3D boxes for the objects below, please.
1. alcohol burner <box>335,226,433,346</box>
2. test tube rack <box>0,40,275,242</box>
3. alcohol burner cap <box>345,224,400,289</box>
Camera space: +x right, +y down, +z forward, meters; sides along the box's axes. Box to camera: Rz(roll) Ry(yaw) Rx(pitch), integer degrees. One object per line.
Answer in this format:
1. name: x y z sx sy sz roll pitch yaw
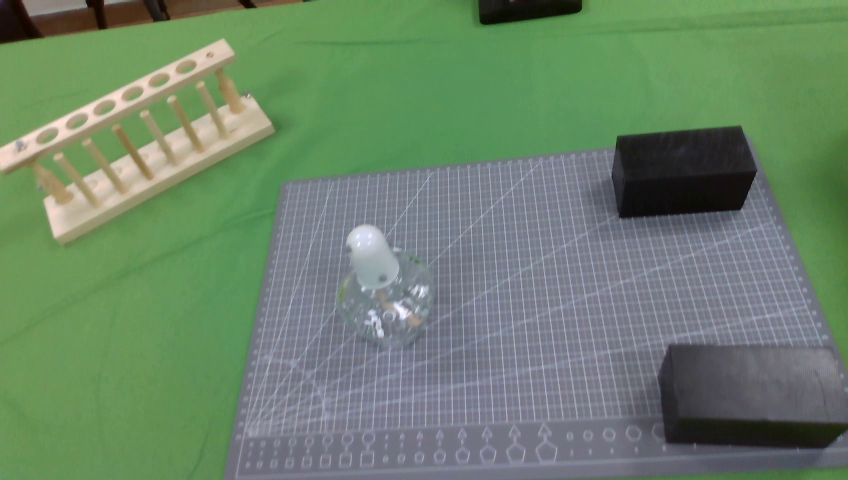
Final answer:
1. alcohol burner: -0.033 0.030 0.459 0.078 0.120 0.077 -5 52 7
2. test tube rack: -0.287 -0.103 0.621 0.242 0.086 0.066 -31 55 -12
3. alcohol burner cap: -0.039 0.009 0.430 0.034 0.048 0.033 -9 50 11
